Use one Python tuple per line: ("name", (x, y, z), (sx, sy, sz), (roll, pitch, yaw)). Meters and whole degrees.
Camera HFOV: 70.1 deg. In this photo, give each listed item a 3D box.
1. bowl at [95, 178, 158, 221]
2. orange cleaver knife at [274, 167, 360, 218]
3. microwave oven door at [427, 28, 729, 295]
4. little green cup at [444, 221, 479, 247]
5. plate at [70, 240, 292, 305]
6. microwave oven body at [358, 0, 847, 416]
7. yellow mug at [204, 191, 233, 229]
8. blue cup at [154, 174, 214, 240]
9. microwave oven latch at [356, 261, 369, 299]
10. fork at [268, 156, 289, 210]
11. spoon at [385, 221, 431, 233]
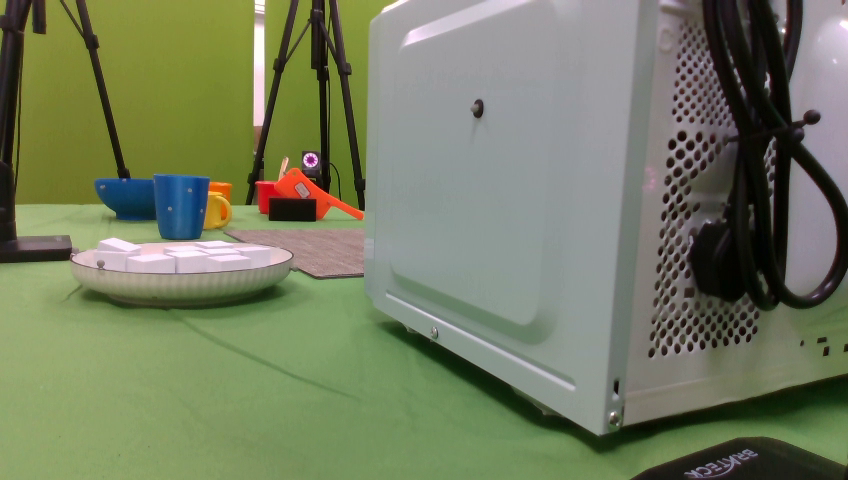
("bowl", (-0.576, -0.081, 1.217), (0.151, 0.077, 0.151), (3, 8, 0))
("orange cleaver knife", (-0.238, -0.091, 1.381), (0.212, 0.077, 0.012), (31, 0, -19))
("microwave oven door", (0.176, -0.074, 0.631), (0.357, 0.243, 0.039), (-1, 8, -25))
("little green cup", (0.064, -0.011, 1.034), (0.061, 0.038, 0.061), (1, 9, 0))
("plate", (-0.242, 0.031, 0.618), (0.208, 0.039, 0.207), (2, 8, 0))
("microwave oven body", (0.211, -0.047, 0.474), (0.444, 0.260, 0.324), (-1, 7, -28))
("yellow mug", (-0.415, -0.057, 1.132), (0.130, 0.064, 0.100), (6, 8, 16))
("blue cup", (-0.390, -0.053, 0.978), (0.093, 0.100, 0.092), (3, 6, 0))
("microwave oven latch", (-0.019, 0.034, 0.525), (0.079, 0.029, 0.030), (1, 7, -17))
("fork", (-0.360, -0.144, 1.508), (0.028, 0.018, 0.207), (1, 49, 0))
("spoon", (-0.024, -0.029, 1.188), (0.041, 0.021, 0.194), (-16, -1, 22))
